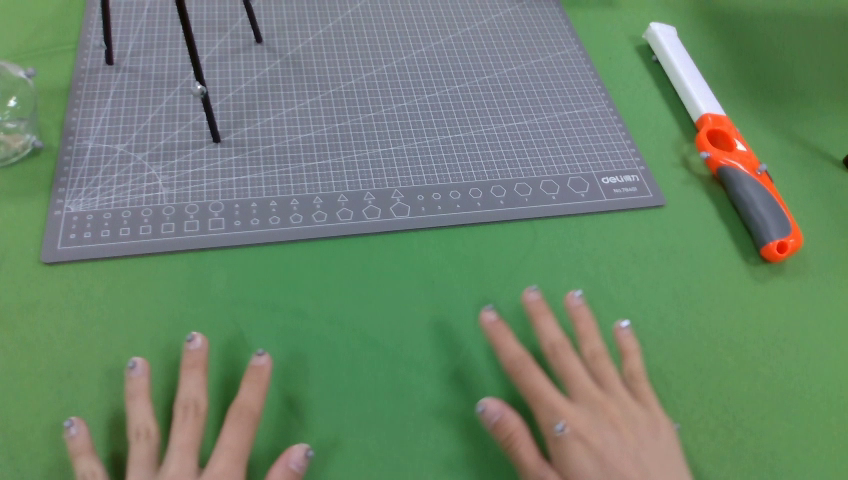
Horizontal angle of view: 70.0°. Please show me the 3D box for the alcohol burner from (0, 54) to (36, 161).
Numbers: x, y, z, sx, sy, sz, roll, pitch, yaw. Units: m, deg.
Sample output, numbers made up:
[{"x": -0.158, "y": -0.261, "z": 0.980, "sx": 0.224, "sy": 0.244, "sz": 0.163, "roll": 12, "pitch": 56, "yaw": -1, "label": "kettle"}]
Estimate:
[{"x": -0.304, "y": -0.107, "z": 0.392, "sx": 0.078, "sy": 0.120, "sz": 0.077, "roll": 5, "pitch": 53, "yaw": -6, "label": "alcohol burner"}]

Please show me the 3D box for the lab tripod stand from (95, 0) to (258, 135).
[{"x": -0.179, "y": -0.172, "z": 0.440, "sx": 0.149, "sy": 0.132, "sz": 0.147, "roll": 5, "pitch": 55, "yaw": -7, "label": "lab tripod stand"}]

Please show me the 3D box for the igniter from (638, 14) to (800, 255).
[{"x": 0.250, "y": -0.103, "z": 0.527, "sx": 0.057, "sy": 0.025, "sz": 0.273, "roll": 2, "pitch": 55, "yaw": -20, "label": "igniter"}]
